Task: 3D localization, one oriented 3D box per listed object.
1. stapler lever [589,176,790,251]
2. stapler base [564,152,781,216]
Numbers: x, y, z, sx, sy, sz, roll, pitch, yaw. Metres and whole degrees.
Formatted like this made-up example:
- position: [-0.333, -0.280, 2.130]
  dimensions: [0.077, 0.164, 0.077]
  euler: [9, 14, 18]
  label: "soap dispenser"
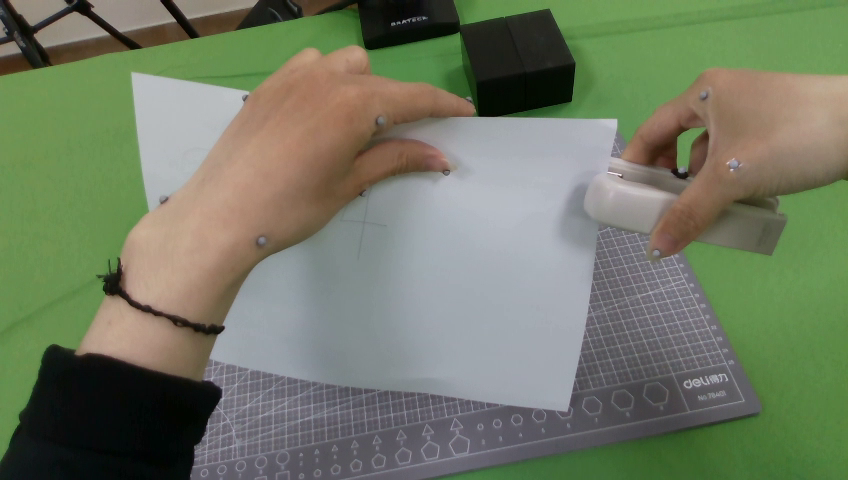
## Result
- position: [0.154, -0.014, 0.349]
  dimensions: [0.118, 0.027, 0.040]
  euler: [11, 23, -1]
  label: "stapler lever"
- position: [0.154, -0.022, 0.371]
  dimensions: [0.131, 0.041, 0.024]
  euler: [10, 23, -2]
  label: "stapler base"
